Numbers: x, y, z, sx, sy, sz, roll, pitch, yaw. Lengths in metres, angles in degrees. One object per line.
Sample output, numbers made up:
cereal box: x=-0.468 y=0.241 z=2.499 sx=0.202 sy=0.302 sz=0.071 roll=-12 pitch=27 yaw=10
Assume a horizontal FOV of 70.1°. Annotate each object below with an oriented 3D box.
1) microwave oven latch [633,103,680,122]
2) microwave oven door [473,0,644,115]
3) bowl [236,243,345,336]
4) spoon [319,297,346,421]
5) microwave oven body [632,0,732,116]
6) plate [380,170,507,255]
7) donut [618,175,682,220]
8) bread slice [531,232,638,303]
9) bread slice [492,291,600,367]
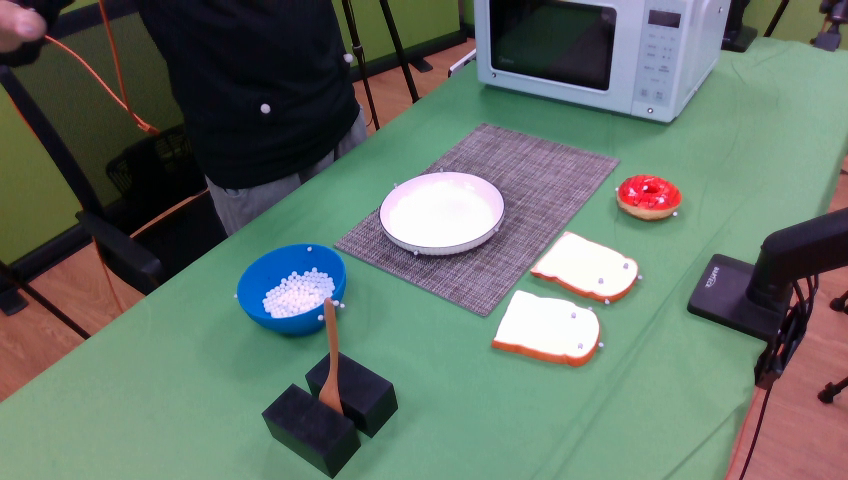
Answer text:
microwave oven latch: x=0.443 y=-0.249 z=1.157 sx=0.078 sy=0.029 sz=0.030 roll=20 pitch=48 yaw=30
microwave oven door: x=0.257 y=-0.396 z=1.199 sx=0.353 sy=0.245 sz=0.039 roll=21 pitch=48 yaw=29
bowl: x=-0.180 y=0.082 z=0.855 sx=0.151 sy=0.077 sz=0.150 roll=-4 pitch=41 yaw=4
spoon: x=-0.106 y=0.139 z=0.688 sx=0.041 sy=0.194 sz=0.022 roll=26 pitch=37 yaw=31
microwave oven body: x=0.377 y=-0.462 z=1.267 sx=0.438 sy=0.261 sz=0.327 roll=21 pitch=48 yaw=30
plate: x=0.033 y=-0.042 z=0.995 sx=0.207 sy=0.039 sz=0.206 roll=-4 pitch=40 yaw=4
donut: x=0.366 y=-0.070 z=0.981 sx=0.099 sy=0.048 sz=0.098 roll=-3 pitch=39 yaw=3
bread slice: x=0.242 y=0.042 z=0.888 sx=0.133 sy=0.018 sz=0.107 roll=22 pitch=49 yaw=31
bread slice: x=0.169 y=0.118 z=0.811 sx=0.131 sy=0.019 sz=0.105 roll=11 pitch=44 yaw=21
